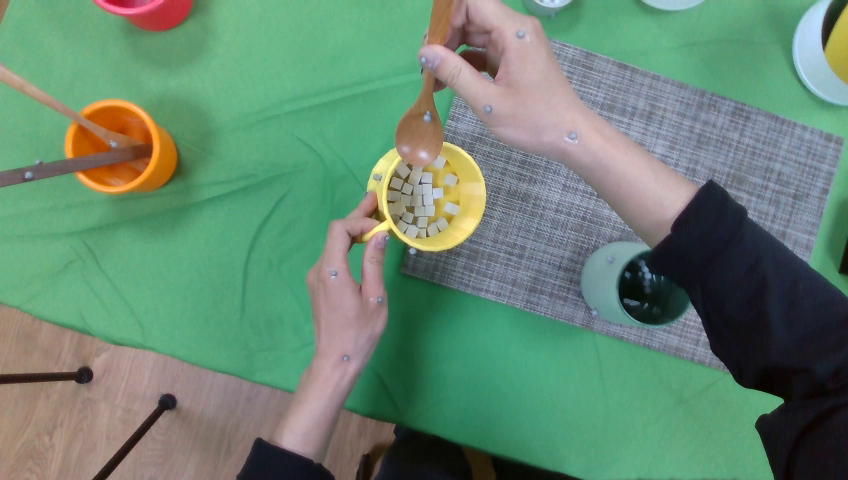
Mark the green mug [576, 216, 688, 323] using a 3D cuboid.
[{"bbox_3d":[0.226,0.028,0.640,0.092,0.105,0.125,34,88,-2],"label":"green mug"}]

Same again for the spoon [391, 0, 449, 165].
[{"bbox_3d":[0.002,-0.120,0.437,0.041,0.195,0.021,13,60,-1],"label":"spoon"}]

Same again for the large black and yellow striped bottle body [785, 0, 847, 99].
[{"bbox_3d":[0.483,-0.228,0.617,0.131,0.184,0.130,0,90,-3],"label":"large black and yellow striped bottle body"}]

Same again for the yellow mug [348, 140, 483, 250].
[{"bbox_3d":[-0.015,-0.036,0.569,0.131,0.063,0.100,-33,107,-11],"label":"yellow mug"}]

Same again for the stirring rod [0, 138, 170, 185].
[{"bbox_3d":[-0.333,-0.078,0.593,0.176,0.006,0.014,-25,93,-45],"label":"stirring rod"}]

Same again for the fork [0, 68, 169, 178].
[{"bbox_3d":[-0.343,-0.120,0.586,0.209,0.018,0.028,37,84,-46],"label":"fork"}]

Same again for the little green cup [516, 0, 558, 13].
[{"bbox_3d":[0.127,-0.283,0.668,0.061,0.038,0.061,0,91,-3],"label":"little green cup"}]

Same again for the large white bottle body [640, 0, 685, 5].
[{"bbox_3d":[0.272,-0.331,0.603,0.131,0.184,0.130,0,90,-2],"label":"large white bottle body"}]
